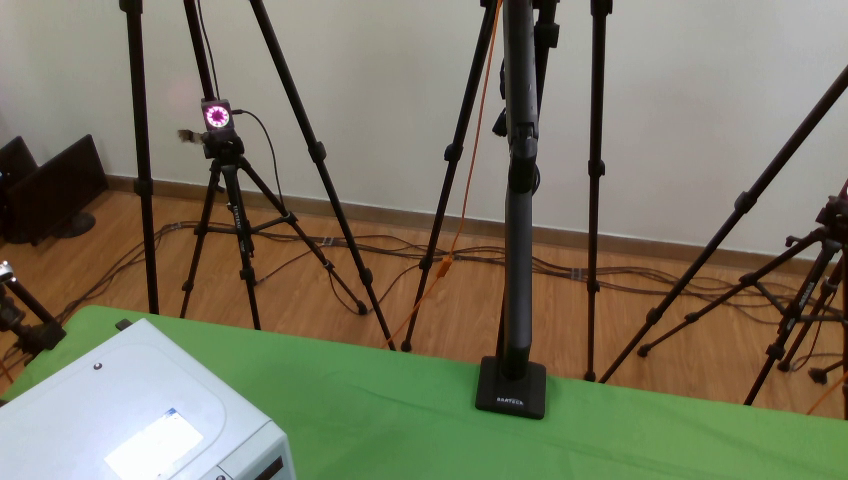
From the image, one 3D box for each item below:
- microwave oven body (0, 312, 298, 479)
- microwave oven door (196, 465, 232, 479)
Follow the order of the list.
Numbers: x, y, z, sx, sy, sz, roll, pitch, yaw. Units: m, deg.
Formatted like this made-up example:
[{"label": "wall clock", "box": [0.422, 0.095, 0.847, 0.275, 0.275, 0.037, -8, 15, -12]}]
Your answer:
[{"label": "microwave oven body", "box": [-0.425, 0.355, 0.743, 0.323, 0.262, 0.441, 28, 47, 27]}, {"label": "microwave oven door", "box": [-0.336, 0.431, 0.647, 0.039, 0.246, 0.355, 27, 46, 28]}]
